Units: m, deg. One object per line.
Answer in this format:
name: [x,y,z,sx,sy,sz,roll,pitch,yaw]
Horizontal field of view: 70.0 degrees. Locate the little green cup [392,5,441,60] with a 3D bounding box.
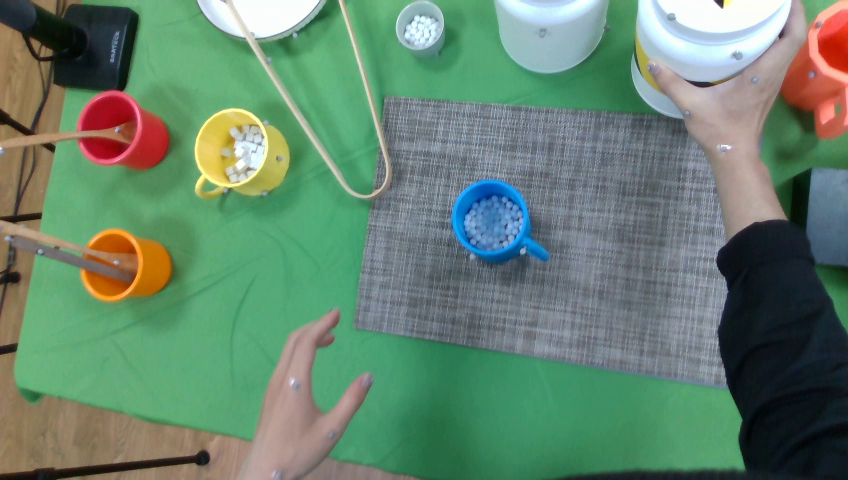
little green cup: [-0.007,-0.261,0.769,0.061,0.039,0.061,-1,86,11]

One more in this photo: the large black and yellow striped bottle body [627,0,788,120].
large black and yellow striped bottle body: [0.274,-0.211,0.600,0.130,0.185,0.130,-3,79,15]

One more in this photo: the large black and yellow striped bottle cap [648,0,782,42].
large black and yellow striped bottle cap: [0.252,-0.228,0.521,0.115,0.019,0.114,-2,81,13]

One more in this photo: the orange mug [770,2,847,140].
orange mug: [0.434,-0.175,0.646,0.083,0.101,0.125,-3,80,11]

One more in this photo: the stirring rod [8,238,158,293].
stirring rod: [-0.428,0.034,0.771,0.006,0.178,0.014,-8,63,53]

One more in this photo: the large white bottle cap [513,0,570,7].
large white bottle cap: [0.118,-0.283,0.585,0.114,0.018,0.114,-1,85,11]

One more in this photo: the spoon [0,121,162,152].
spoon: [-0.445,-0.132,0.789,0.194,0.021,0.041,-12,79,-35]

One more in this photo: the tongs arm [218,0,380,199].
tongs arm: [-0.176,-0.210,0.778,0.051,0.026,0.384,-31,87,3]

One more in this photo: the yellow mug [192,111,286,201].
yellow mug: [-0.250,-0.098,0.788,0.131,0.064,0.099,-45,79,6]

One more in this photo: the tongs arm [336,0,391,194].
tongs arm: [-0.101,-0.247,0.770,0.028,0.028,0.387,-17,89,0]

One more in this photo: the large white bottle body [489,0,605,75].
large white bottle body: [0.135,-0.275,0.668,0.130,0.185,0.130,-1,85,11]

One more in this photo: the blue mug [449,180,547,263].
blue mug: [0.090,-0.009,0.691,0.116,0.106,0.082,34,92,12]

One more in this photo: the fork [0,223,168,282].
fork: [-0.434,0.015,0.771,0.209,0.018,0.028,21,88,-32]

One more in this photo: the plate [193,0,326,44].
plate: [-0.214,-0.362,0.817,0.207,0.039,0.207,-1,86,11]
